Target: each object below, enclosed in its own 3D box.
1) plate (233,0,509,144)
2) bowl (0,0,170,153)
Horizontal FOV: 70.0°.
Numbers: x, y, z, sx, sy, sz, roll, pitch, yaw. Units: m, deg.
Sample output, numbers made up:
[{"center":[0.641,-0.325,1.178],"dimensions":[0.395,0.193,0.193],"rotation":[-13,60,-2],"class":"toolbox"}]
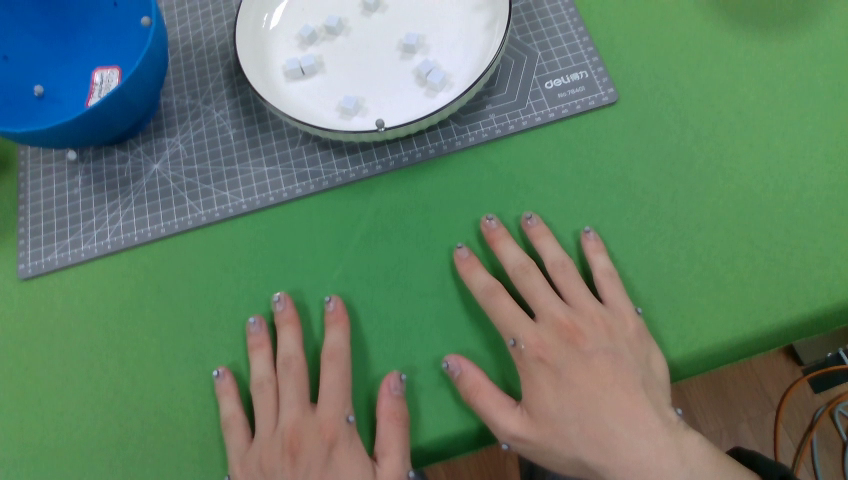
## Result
[{"center":[-0.039,-0.159,0.461],"dimensions":[0.209,0.038,0.207],"rotation":[-2,67,5],"class":"plate"},{"center":[-0.250,-0.120,0.449],"dimensions":[0.151,0.077,0.150],"rotation":[-3,67,6],"class":"bowl"}]
